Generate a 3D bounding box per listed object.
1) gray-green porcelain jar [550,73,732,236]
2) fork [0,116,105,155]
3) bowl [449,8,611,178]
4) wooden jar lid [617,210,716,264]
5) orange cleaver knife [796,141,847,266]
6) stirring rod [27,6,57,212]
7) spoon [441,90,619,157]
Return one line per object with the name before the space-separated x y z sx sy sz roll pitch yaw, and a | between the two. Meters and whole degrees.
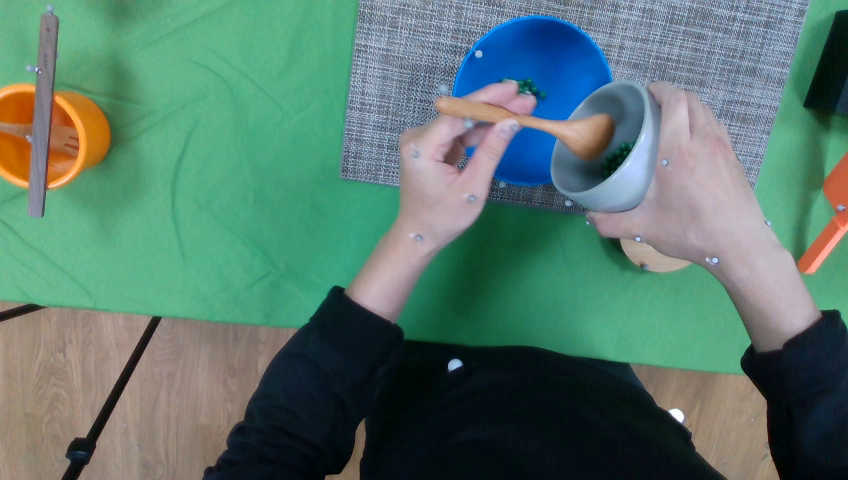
gray-green porcelain jar | 0.191 -0.068 0.526 0.127 0.105 0.106 24 104 -27
fork | -0.380 -0.108 0.515 0.028 0.018 0.209 -52 148 18
bowl | 0.094 -0.140 0.582 0.151 0.076 0.152 -1 107 -4
wooden jar lid | 0.263 -0.026 0.662 0.108 0.020 0.109 -1 112 -3
orange cleaver knife | 0.451 -0.061 0.640 0.012 0.076 0.213 3 136 -9
stirring rod | -0.327 -0.108 0.518 0.014 0.006 0.177 11 106 -11
spoon | 0.086 -0.089 0.453 0.195 0.021 0.042 3 125 -36
